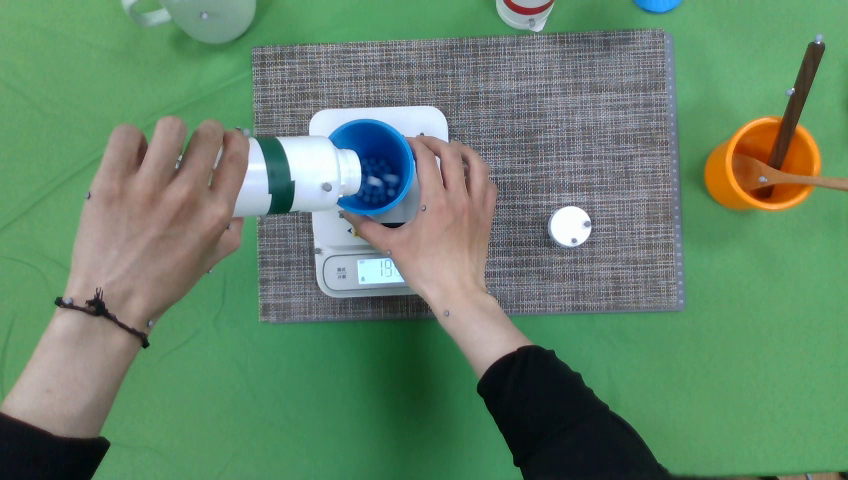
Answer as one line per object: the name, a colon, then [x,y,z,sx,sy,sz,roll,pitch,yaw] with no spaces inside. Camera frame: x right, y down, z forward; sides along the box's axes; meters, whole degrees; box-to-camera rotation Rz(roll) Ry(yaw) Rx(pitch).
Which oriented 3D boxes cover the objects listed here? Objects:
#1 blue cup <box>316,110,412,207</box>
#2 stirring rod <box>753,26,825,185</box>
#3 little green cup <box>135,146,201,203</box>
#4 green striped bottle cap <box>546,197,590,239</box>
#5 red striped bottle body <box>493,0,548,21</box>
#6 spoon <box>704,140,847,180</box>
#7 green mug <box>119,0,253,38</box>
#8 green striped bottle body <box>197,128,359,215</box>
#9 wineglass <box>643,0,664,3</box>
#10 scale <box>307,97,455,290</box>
blue cup: [-0.054,-0.070,0.578,0.093,0.100,0.092,0,90,-2]
stirring rod: [0.345,-0.120,0.580,0.014,0.178,0.006,7,48,15]
little green cup: [-0.270,-0.068,0.648,0.061,0.038,0.061,0,88,0]
green striped bottle cap: [0.154,-0.024,0.646,0.044,0.020,0.044,0,86,3]
red striped bottle body: [0.103,-0.271,0.603,0.063,0.120,0.063,0,88,1]
spoon: [0.367,-0.068,0.578,0.022,0.192,0.041,5,98,-41]
green mug: [-0.247,-0.258,0.619,0.125,0.105,0.092,-25,88,1]
green striped bottle body: [-0.114,-0.057,0.486,0.120,0.063,0.063,-9,88,-28]
wineglass: [0.246,-0.293,0.573,0.074,0.172,0.073,0,88,2]
scale: [-0.046,-0.049,0.643,0.148,0.031,0.200,-3,89,2]
